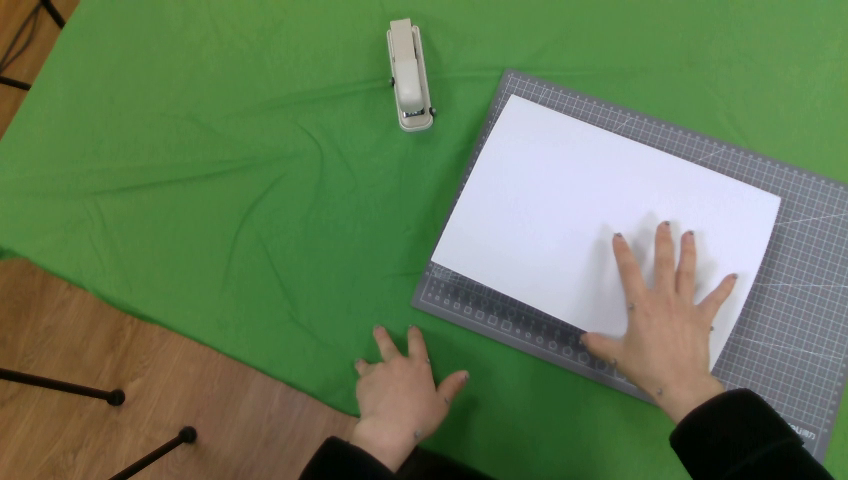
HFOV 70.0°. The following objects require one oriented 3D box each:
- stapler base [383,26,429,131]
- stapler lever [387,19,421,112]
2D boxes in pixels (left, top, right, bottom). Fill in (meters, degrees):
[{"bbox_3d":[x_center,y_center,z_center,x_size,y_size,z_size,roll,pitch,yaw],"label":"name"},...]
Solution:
[{"bbox_3d":[-0.022,-0.193,0.704,0.041,0.024,0.130,-8,78,-1],"label":"stapler base"},{"bbox_3d":[-0.023,-0.199,0.681,0.027,0.040,0.117,-8,79,-1],"label":"stapler lever"}]
